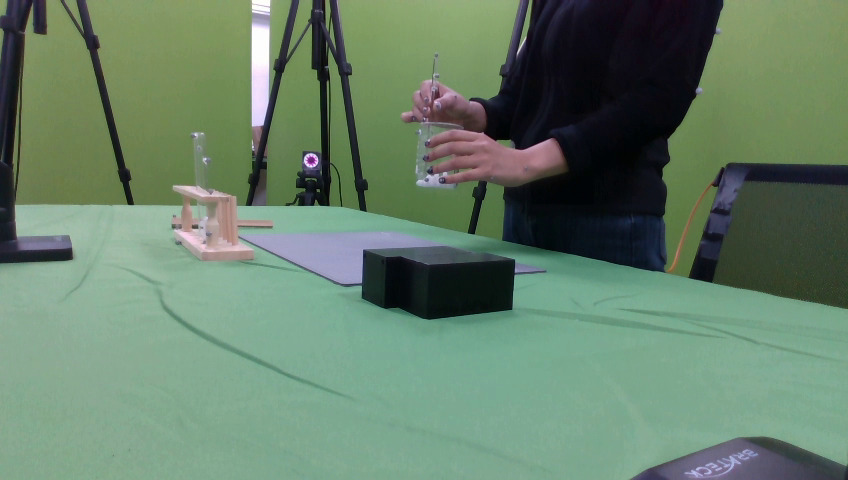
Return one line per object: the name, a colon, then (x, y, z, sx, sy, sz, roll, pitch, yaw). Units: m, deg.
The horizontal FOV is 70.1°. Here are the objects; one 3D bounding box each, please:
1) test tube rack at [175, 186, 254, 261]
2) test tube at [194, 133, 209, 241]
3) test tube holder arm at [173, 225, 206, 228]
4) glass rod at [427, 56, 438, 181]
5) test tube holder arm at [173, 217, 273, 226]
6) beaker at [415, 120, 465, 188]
test tube rack: (-0.314, -0.031, 0.889, 0.067, 0.085, 0.241, -2, 8, -30)
test tube: (-0.307, -0.074, 0.842, 0.017, 0.150, 0.017, -3, 2, 0)
test tube holder arm: (-0.415, -0.030, 1.113, 0.088, 0.015, 0.010, -1, -22, -25)
glass rod: (0.014, -0.195, 0.975, 0.008, 0.199, 0.008, 3, 7, 0)
test tube holder arm: (-0.371, -0.033, 1.128, 0.179, 0.015, 0.013, -1, -22, -26)
beaker: (0.023, -0.135, 0.963, 0.074, 0.100, 0.083, 3, 4, -14)
